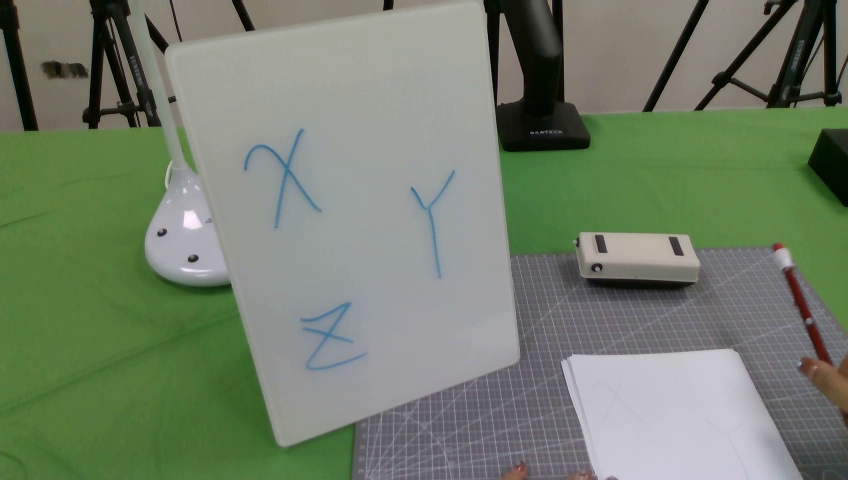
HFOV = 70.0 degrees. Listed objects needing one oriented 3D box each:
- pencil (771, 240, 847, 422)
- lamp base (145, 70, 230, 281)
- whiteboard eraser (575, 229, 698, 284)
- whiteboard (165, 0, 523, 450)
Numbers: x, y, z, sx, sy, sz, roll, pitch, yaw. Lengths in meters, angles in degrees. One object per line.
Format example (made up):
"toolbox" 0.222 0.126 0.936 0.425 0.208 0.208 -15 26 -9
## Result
"pencil" 0.309 0.073 0.479 0.012 0.012 0.192 2 48 3
"lamp base" -0.233 -0.075 0.627 0.177 0.182 0.160 25 46 32
"whiteboard eraser" 0.213 0.017 0.613 0.112 0.042 0.055 2 40 4
"whiteboard" -0.058 -0.024 0.509 0.218 0.307 0.142 -15 22 -16
